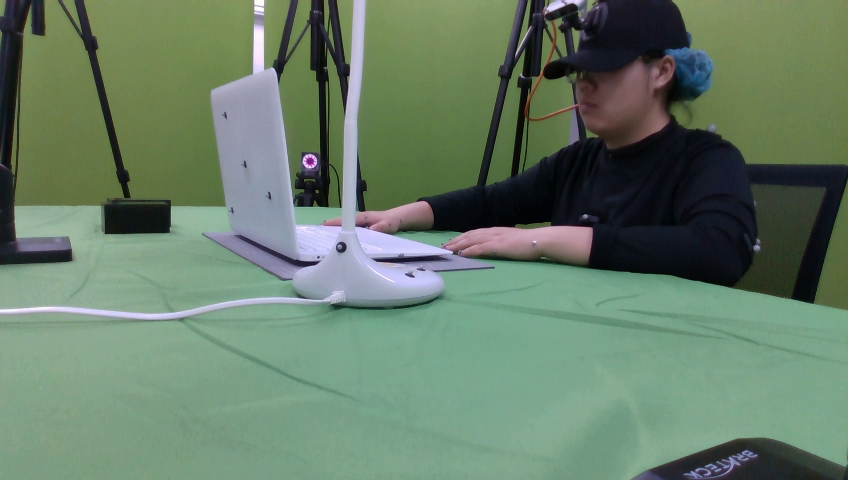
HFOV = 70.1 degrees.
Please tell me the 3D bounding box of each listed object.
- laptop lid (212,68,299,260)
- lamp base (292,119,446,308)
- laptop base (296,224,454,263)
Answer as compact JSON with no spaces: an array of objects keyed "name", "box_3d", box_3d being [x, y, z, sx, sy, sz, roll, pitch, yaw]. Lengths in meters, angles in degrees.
[{"name":"laptop lid","box_3d":[-0.254,-0.110,0.872,0.013,0.241,0.355,-11,14,-30]},{"name":"lamp base","box_3d":[-0.056,-0.030,0.616,0.160,0.180,0.179,3,10,8]},{"name":"laptop base","box_3d":[-0.143,0.003,0.957,0.237,0.023,0.352,2,6,-32]}]
